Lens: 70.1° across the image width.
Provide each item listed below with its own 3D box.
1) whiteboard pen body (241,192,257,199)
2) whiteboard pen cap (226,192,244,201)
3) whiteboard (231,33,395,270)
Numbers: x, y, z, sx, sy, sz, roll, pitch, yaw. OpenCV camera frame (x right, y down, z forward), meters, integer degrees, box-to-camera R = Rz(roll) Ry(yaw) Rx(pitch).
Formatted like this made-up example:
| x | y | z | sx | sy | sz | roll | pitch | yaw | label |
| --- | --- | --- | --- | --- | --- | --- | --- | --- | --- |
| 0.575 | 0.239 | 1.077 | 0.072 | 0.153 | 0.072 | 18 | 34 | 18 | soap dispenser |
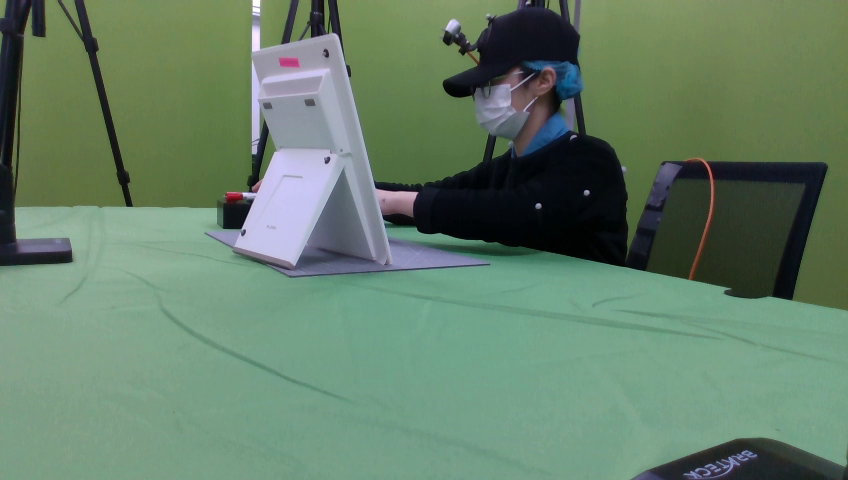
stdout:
| x | y | z | sx | sy | sz | roll | pitch | yaw | label |
| --- | --- | --- | --- | --- | --- | --- | --- | --- | --- |
| -0.331 | -0.091 | 1.248 | 0.141 | 0.017 | 0.017 | -3 | 9 | -35 | whiteboard pen body |
| -0.379 | -0.087 | 1.215 | 0.032 | 0.017 | 0.017 | -5 | 10 | -38 | whiteboard pen cap |
| -0.193 | -0.094 | 0.805 | 0.144 | 0.305 | 0.216 | -28 | 25 | -35 | whiteboard |
